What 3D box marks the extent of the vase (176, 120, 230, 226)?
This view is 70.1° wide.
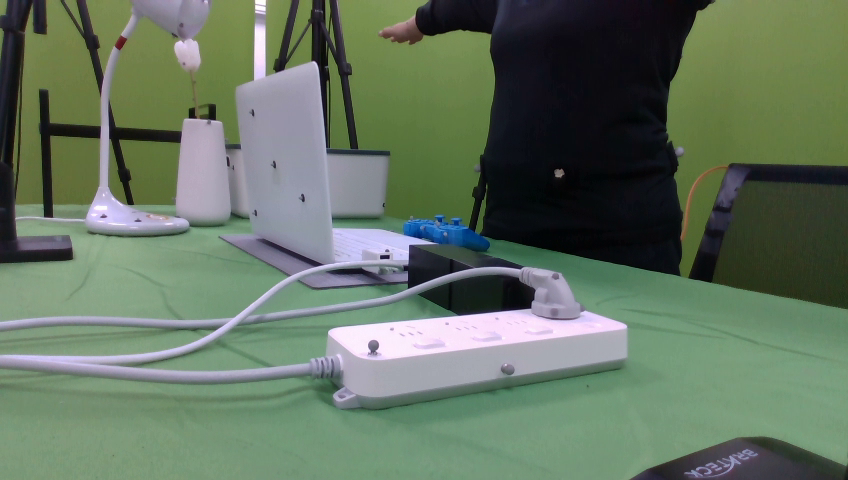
[{"bbox_3d":[-0.424,-0.128,1.158,0.098,0.200,0.098,2,9,0],"label":"vase"}]

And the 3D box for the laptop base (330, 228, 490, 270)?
[{"bbox_3d":[-0.095,0.011,0.912,0.237,0.023,0.352,2,6,-32],"label":"laptop base"}]

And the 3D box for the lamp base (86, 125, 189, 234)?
[{"bbox_3d":[-0.497,-0.105,1.027,0.179,0.180,0.160,1,7,2],"label":"lamp base"}]

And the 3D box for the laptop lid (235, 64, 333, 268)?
[{"bbox_3d":[-0.203,-0.103,0.827,0.013,0.241,0.355,-9,14,-30],"label":"laptop lid"}]

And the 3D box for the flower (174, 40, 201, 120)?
[{"bbox_3d":[-0.430,-0.211,1.165,0.044,0.361,0.038,-10,-5,-24],"label":"flower"}]

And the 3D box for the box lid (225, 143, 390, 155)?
[{"bbox_3d":[-0.296,-0.217,1.463,0.373,0.015,0.262,-2,8,-29],"label":"box lid"}]

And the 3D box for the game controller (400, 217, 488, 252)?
[{"bbox_3d":[0.029,-0.011,1.027,0.097,0.051,0.154,-4,9,-34],"label":"game controller"}]

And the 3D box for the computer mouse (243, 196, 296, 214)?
[{"bbox_3d":[-0.362,-0.082,1.416,0.117,0.041,0.063,-3,10,5],"label":"computer mouse"}]

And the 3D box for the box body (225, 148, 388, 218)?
[{"bbox_3d":[-0.298,-0.143,1.473,0.366,0.160,0.253,-1,9,-30],"label":"box body"}]

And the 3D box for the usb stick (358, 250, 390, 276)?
[{"bbox_3d":[-0.062,0.026,0.709,0.021,0.027,0.059,-2,3,-29],"label":"usb stick"}]

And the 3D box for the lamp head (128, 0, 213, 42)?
[{"bbox_3d":[-0.423,-0.394,0.980,0.123,0.112,0.112,21,7,-3],"label":"lamp head"}]

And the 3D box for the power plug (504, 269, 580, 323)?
[{"bbox_3d":[0.092,0.051,0.470,0.035,0.052,0.072,0,7,-16],"label":"power plug"}]

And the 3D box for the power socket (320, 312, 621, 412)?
[{"bbox_3d":[0.038,0.075,0.410,0.228,0.032,0.072,-2,8,-29],"label":"power socket"}]
